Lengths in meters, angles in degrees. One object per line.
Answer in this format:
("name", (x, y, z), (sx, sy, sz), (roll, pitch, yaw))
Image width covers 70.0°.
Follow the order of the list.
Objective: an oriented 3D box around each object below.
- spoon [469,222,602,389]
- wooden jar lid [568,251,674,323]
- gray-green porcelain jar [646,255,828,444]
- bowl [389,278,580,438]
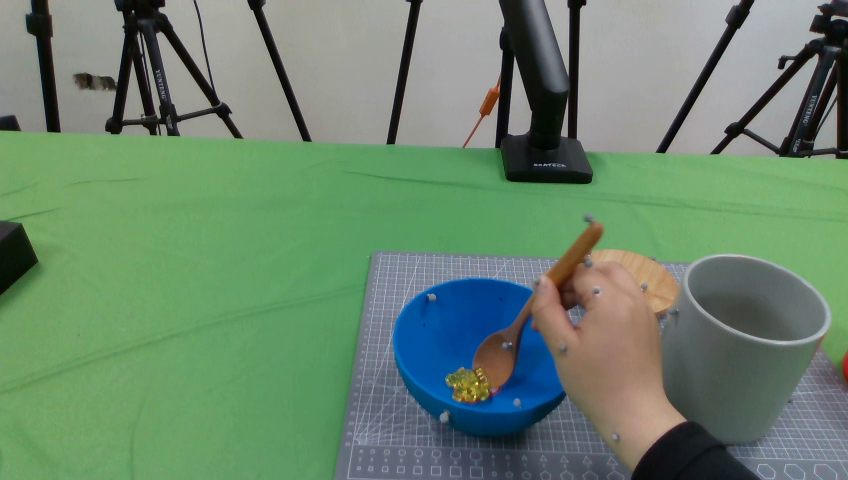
("spoon", (0.078, 0.055, 0.453), (0.022, 0.195, 0.041), (-6, 53, -27))
("wooden jar lid", (0.206, 0.050, 0.641), (0.108, 0.021, 0.107), (1, 34, -1))
("gray-green porcelain jar", (0.244, 0.093, 0.491), (0.106, 0.127, 0.105), (1, 36, -1))
("bowl", (0.046, 0.108, 0.500), (0.151, 0.077, 0.150), (2, 36, -1))
